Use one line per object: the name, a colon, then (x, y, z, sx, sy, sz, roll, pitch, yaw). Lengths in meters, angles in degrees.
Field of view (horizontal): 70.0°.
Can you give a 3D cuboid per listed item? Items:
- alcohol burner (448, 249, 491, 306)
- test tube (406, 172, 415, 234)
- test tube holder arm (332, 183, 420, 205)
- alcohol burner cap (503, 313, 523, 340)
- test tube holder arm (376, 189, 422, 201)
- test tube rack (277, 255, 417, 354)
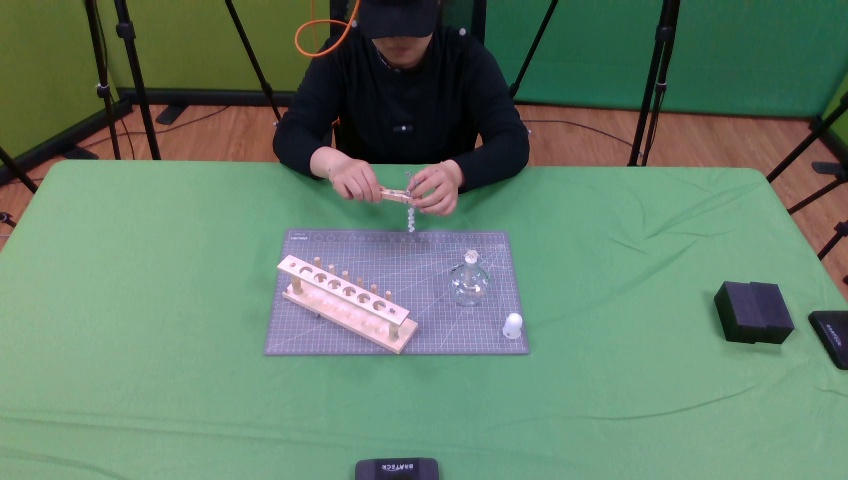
alcohol burner: (0.081, 0.062, 1.078, 0.078, 0.120, 0.077, 1, 45, -1)
test tube: (-0.026, -0.068, 1.160, 0.017, 0.151, 0.017, 0, 45, 0)
test tube holder arm: (-0.093, -0.089, 1.158, 0.178, 0.015, 0.013, 10, 37, 12)
alcohol burner cap: (0.156, 0.148, 1.051, 0.034, 0.048, 0.033, 1, 45, -1)
test tube holder arm: (-0.048, -0.086, 1.155, 0.088, 0.015, 0.010, 4, 37, 4)
test tube rack: (-0.131, 0.099, 1.045, 0.241, 0.085, 0.066, 23, 49, 17)
